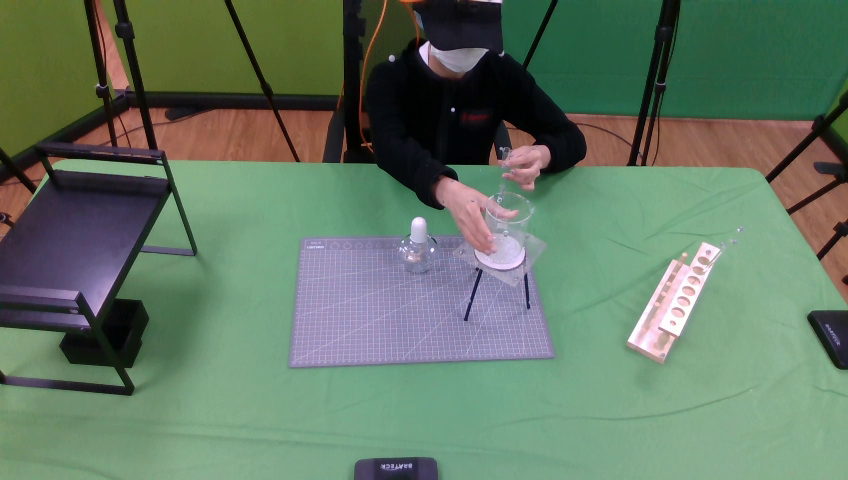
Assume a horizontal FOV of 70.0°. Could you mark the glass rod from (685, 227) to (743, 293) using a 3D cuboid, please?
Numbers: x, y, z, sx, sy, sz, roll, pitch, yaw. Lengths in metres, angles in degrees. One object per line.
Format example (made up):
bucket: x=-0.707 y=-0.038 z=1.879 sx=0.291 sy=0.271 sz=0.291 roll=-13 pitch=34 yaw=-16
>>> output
glass rod: x=0.500 y=0.040 z=1.054 sx=0.008 sy=0.200 sz=0.008 roll=4 pitch=53 yaw=-5

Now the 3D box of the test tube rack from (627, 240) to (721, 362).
test tube rack: x=0.452 y=0.098 z=1.087 sx=0.066 sy=0.085 sz=0.242 roll=28 pitch=51 yaw=22

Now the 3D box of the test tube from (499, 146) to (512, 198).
test tube: x=0.159 y=-0.131 z=1.192 sx=0.017 sy=0.151 sz=0.017 roll=-1 pitch=57 yaw=2

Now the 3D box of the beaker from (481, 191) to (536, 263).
beaker: x=0.134 y=-0.019 z=0.982 sx=0.084 sy=0.101 sz=0.073 roll=-5 pitch=46 yaw=-8

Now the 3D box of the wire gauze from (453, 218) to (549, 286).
wire gauze: x=0.129 y=0.014 z=1.018 sx=0.124 sy=0.011 sz=0.121 roll=26 pitch=47 yaw=25

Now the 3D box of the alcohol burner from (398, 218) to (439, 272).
alcohol burner: x=-0.010 y=0.004 z=1.123 sx=0.078 sy=0.120 sz=0.077 roll=1 pitch=47 yaw=0

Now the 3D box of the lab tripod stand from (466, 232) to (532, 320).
lab tripod stand: x=0.125 y=0.059 z=1.065 sx=0.148 sy=0.132 sz=0.147 roll=1 pitch=45 yaw=0

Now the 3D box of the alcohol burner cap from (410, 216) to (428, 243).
alcohol burner cap: x=-0.009 y=-0.022 z=1.099 sx=0.034 sy=0.048 sz=0.033 roll=2 pitch=43 yaw=-2
